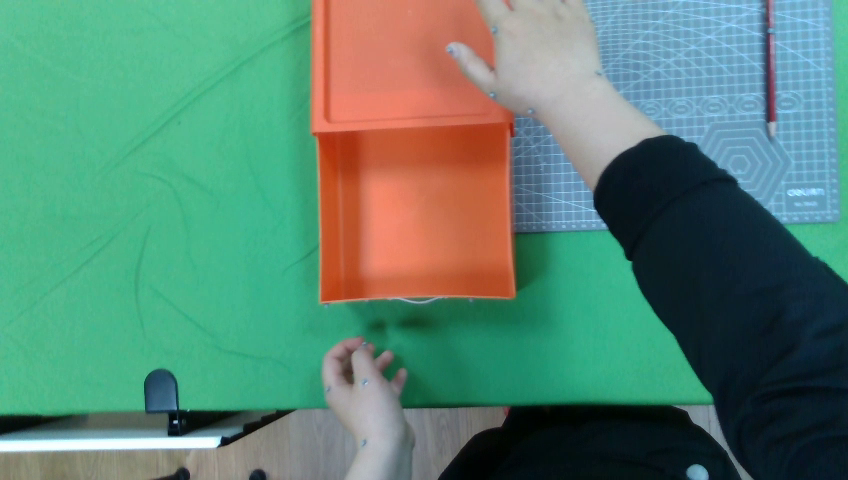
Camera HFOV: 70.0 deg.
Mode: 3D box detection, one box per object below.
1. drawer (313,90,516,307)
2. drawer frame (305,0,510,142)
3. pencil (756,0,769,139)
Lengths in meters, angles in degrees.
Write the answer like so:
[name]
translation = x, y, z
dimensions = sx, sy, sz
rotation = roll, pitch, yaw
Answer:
[drawer]
translation = -0.009, -0.039, 0.613
dimensions = 0.194, 0.073, 0.211
rotation = -3, 89, 11
[drawer frame]
translation = -0.017, -0.204, 0.617
dimensions = 0.201, 0.083, 0.213
rotation = -3, 86, 10
[pencil]
translation = 0.333, -0.197, 0.597
dimensions = 0.012, 0.012, 0.194
rotation = -2, 89, 10
